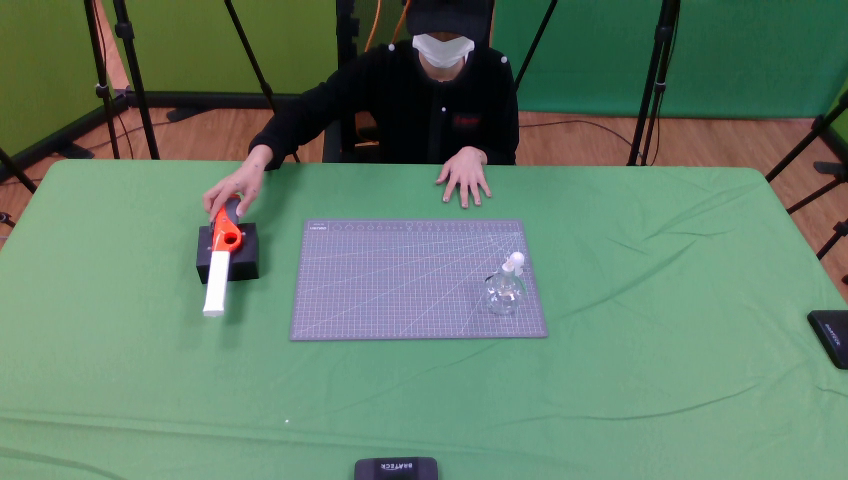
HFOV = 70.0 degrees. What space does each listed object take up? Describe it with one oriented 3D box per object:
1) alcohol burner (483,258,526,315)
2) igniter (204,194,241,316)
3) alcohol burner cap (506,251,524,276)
[{"bbox_3d":[0.143,0.076,1.067,0.078,0.120,0.077,1,45,-1],"label":"alcohol burner"},{"bbox_3d":[-0.361,0.017,1.085,0.057,0.025,0.274,2,49,-11],"label":"igniter"},{"bbox_3d":[0.175,0.043,1.151,0.034,0.048,0.033,2,46,-1],"label":"alcohol burner cap"}]
